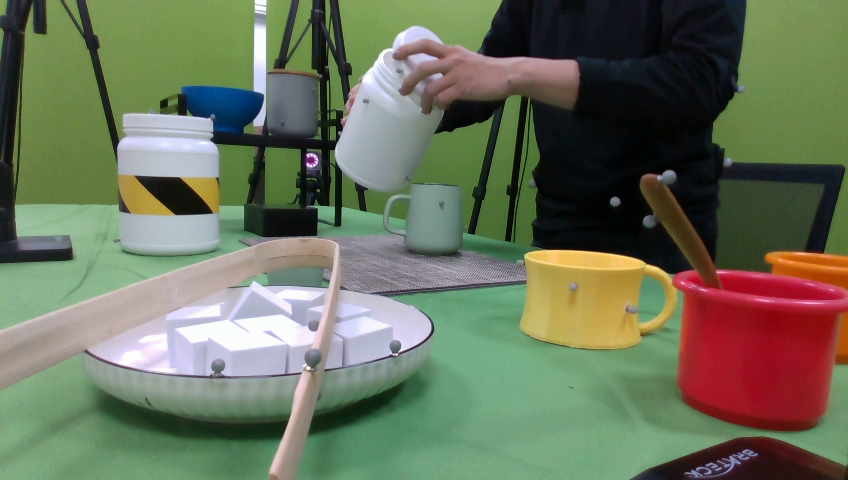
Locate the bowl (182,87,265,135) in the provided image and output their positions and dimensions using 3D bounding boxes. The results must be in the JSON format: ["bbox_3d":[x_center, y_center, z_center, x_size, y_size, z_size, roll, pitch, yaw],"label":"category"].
[{"bbox_3d":[-0.383,-0.243,1.158,0.151,0.077,0.151,2,7,0],"label":"bowl"}]

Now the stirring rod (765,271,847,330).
[{"bbox_3d":[0.352,0.020,0.481,0.176,0.006,0.014,-40,-8,17],"label":"stirring rod"}]

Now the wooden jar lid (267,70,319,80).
[{"bbox_3d":[-0.275,-0.340,1.271,0.108,0.020,0.108,5,6,0],"label":"wooden jar lid"}]

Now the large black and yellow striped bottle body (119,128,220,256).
[{"bbox_3d":[-0.355,-0.076,0.850,0.131,0.184,0.130,2,8,0],"label":"large black and yellow striped bottle body"}]

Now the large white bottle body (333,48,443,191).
[{"bbox_3d":[-0.050,-0.182,0.916,0.131,0.184,0.130,18,39,-15],"label":"large white bottle body"}]

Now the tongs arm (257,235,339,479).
[{"bbox_3d":[-0.074,0.040,0.345,0.051,0.026,0.384,-1,10,-3],"label":"tongs arm"}]

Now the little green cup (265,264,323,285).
[{"bbox_3d":[-0.134,0.034,0.627,0.061,0.038,0.061,3,6,0],"label":"little green cup"}]

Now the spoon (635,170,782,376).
[{"bbox_3d":[0.161,0.026,0.346,0.041,0.194,0.021,9,55,53],"label":"spoon"}]

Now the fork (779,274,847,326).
[{"bbox_3d":[0.332,0.018,0.443,0.028,0.018,0.207,-3,-35,-16],"label":"fork"}]

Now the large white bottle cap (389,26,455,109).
[{"bbox_3d":[-0.001,-0.239,0.838,0.018,0.114,0.115,-17,-7,42],"label":"large white bottle cap"}]

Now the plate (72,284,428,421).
[{"bbox_3d":[-0.102,0.067,0.381,0.208,0.039,0.207,3,7,0],"label":"plate"}]

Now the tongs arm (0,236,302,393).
[{"bbox_3d":[-0.157,0.038,0.347,0.028,0.028,0.388,-3,8,11],"label":"tongs arm"}]

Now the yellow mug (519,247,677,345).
[{"bbox_3d":[0.148,0.045,0.513,0.131,0.064,0.100,3,7,0],"label":"yellow mug"}]

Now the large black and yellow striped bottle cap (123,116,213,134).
[{"bbox_3d":[-0.353,-0.159,0.838,0.115,0.019,0.115,2,6,0],"label":"large black and yellow striped bottle cap"}]

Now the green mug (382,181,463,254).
[{"bbox_3d":[-0.001,-0.036,0.922,0.126,0.105,0.092,0,8,-16],"label":"green mug"}]

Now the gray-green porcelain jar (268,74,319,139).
[{"bbox_3d":[-0.277,-0.279,1.280,0.106,0.126,0.106,2,8,0],"label":"gray-green porcelain jar"}]
